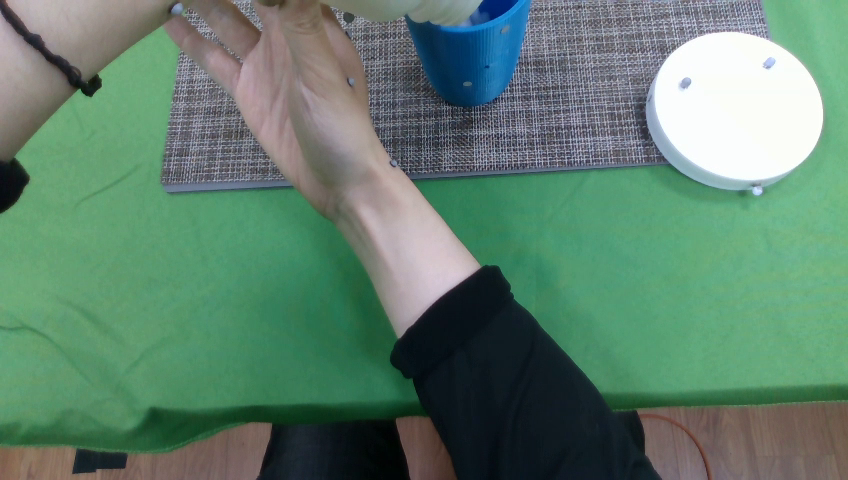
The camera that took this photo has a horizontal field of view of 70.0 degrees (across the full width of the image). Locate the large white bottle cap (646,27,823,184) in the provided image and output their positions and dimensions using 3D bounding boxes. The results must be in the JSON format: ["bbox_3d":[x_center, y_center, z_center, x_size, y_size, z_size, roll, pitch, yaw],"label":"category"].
[{"bbox_3d":[0.214,-0.094,0.419,0.115,0.018,0.114,0,74,1],"label":"large white bottle cap"}]

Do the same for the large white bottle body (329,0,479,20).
[{"bbox_3d":[-0.051,-0.187,0.286,0.186,0.130,0.130,11,70,-22],"label":"large white bottle body"}]

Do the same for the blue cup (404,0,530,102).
[{"bbox_3d":[0.029,-0.145,0.406,0.092,0.101,0.092,-2,70,6],"label":"blue cup"}]
